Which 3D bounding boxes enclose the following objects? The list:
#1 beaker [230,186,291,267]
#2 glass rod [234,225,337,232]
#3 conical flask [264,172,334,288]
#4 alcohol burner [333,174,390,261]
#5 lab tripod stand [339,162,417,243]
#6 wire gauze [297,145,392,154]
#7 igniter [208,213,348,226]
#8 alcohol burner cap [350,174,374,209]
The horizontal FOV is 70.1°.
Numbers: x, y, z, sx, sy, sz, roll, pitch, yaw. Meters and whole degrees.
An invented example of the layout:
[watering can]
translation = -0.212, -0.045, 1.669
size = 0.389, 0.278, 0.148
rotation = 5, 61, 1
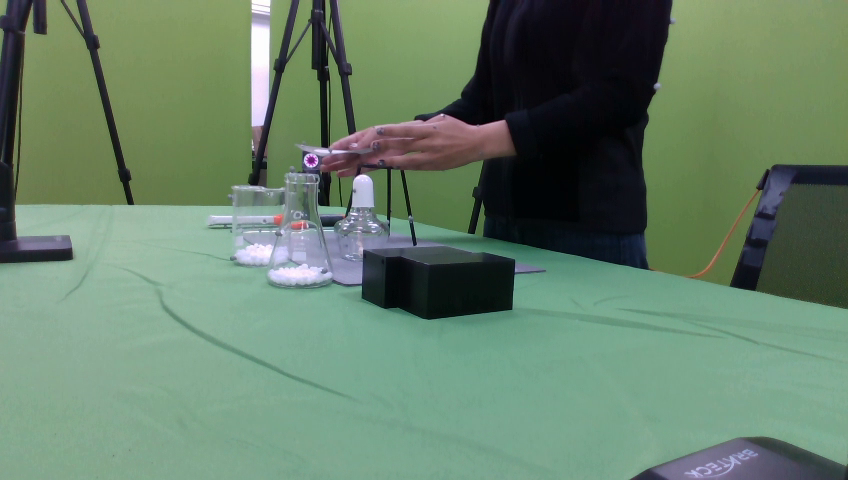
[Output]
[beaker]
translation = -0.209, -0.019, 0.778
size = 0.074, 0.100, 0.084
rotation = 3, 6, 4
[glass rod]
translation = -0.256, -0.023, 1.136
size = 0.201, 0.008, 0.008
rotation = -3, 9, -33
[conical flask]
translation = -0.136, -0.013, 0.660
size = 0.075, 0.122, 0.075
rotation = 2, 7, 0
[alcohol burner]
translation = -0.085, -0.031, 0.832
size = 0.078, 0.119, 0.078
rotation = 3, 6, 0
[lab tripod stand]
translation = -0.068, -0.065, 1.027
size = 0.148, 0.131, 0.148
rotation = 4, 7, 0
[wire gauze]
translation = -0.130, -0.148, 0.981
size = 0.122, 0.011, 0.124
rotation = -6, 12, -32
[igniter]
translation = -0.283, -0.041, 1.200
size = 0.278, 0.025, 0.057
rotation = -2, -3, -34
[alcohol burner cap]
translation = -0.085, -0.067, 0.829
size = 0.034, 0.048, 0.034
rotation = 0, 2, 0
